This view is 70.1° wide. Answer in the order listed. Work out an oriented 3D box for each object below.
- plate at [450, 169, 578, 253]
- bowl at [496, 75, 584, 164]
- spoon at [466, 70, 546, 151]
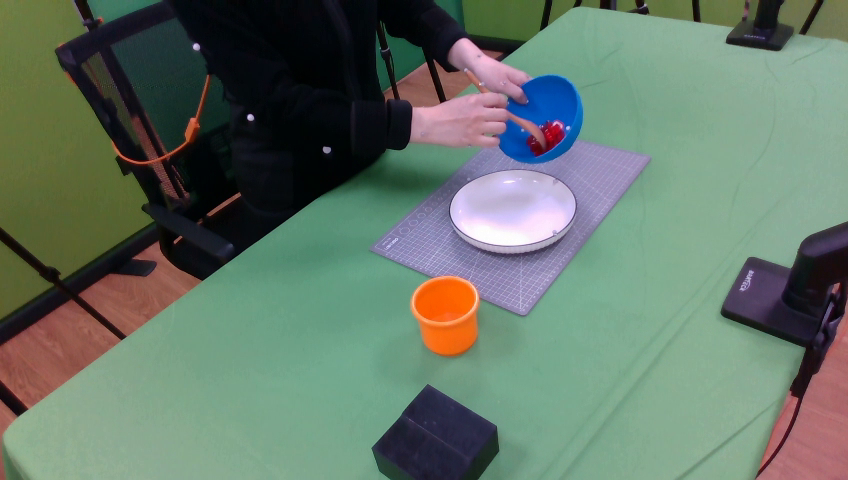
[{"bbox_3d":[0.147,-0.044,0.994,0.209,0.038,0.208,-5,40,5],"label":"plate"},{"bbox_3d":[0.203,-0.185,0.993,0.150,0.077,0.150,-17,62,35],"label":"bowl"},{"bbox_3d":[0.130,-0.199,0.936,0.021,0.195,0.041,-39,35,30],"label":"spoon"}]
